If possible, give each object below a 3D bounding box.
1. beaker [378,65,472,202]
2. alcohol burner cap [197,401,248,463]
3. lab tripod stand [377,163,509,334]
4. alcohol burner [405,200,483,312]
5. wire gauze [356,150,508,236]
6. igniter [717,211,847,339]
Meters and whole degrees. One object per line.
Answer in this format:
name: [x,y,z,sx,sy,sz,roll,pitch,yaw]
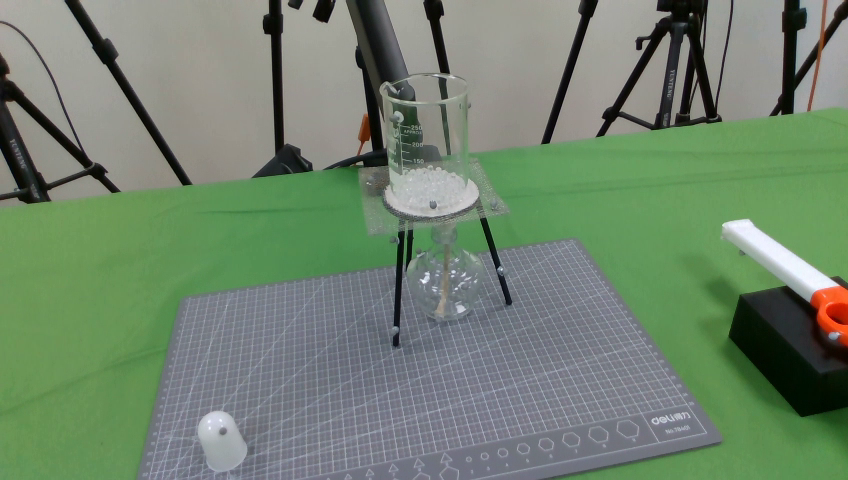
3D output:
beaker: [0.000,-0.091,0.520,0.074,0.101,0.083,-30,42,-35]
alcohol burner cap: [-0.158,0.146,0.472,0.034,0.048,0.033,-2,35,2]
lab tripod stand: [0.010,0.002,0.587,0.148,0.132,0.147,-1,33,1]
alcohol burner: [0.019,0.012,0.589,0.078,0.120,0.077,-1,36,1]
wire gauze: [0.002,-0.050,0.546,0.121,0.011,0.123,-8,37,-6]
igniter: [0.341,0.046,0.508,0.057,0.025,0.273,-10,31,-8]
